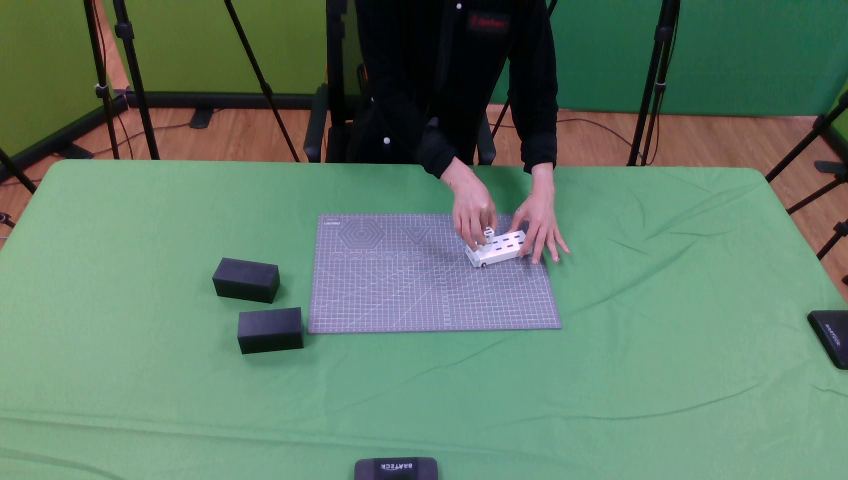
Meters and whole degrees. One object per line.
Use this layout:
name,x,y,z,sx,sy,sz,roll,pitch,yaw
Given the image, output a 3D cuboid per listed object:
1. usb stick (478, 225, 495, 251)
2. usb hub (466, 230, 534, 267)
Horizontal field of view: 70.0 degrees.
usb stick,0.118,0.001,1.158,0.021,0.059,0.027,-16,50,-19
usb hub,0.149,0.017,1.186,0.125,0.025,0.049,-13,49,-16
